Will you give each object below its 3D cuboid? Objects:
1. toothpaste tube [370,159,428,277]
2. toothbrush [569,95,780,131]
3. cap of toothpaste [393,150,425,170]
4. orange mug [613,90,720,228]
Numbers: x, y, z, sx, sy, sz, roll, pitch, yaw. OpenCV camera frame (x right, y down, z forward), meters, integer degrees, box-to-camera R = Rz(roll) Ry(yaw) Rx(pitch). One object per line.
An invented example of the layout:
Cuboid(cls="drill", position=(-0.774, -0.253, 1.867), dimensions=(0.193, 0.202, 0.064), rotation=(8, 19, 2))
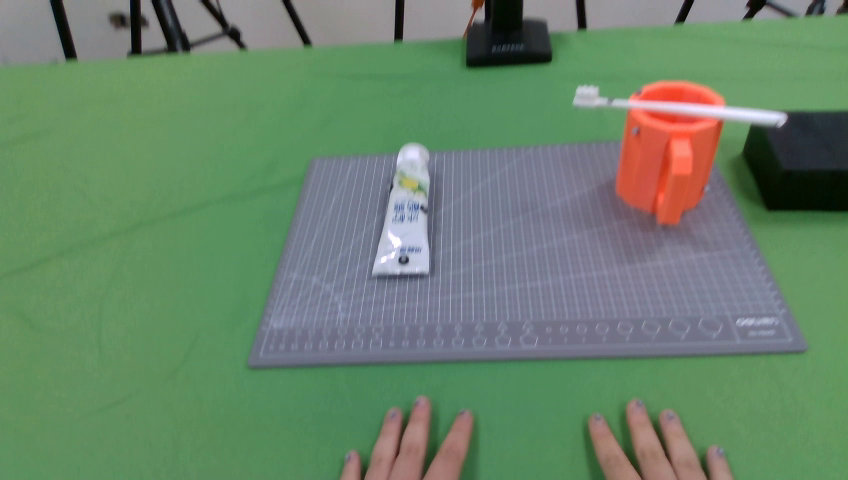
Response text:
Cuboid(cls="toothpaste tube", position=(-0.022, -0.027, 0.617), dimensions=(0.055, 0.035, 0.163), rotation=(-5, 47, 8))
Cuboid(cls="toothbrush", position=(0.224, -0.116, 0.552), dimensions=(0.181, 0.017, 0.014), rotation=(10, 37, 18))
Cuboid(cls="cap of toothpaste", position=(-0.017, -0.084, 0.669), dimensions=(0.037, 0.038, 0.011), rotation=(0, 49, 7))
Cuboid(cls="orange mug", position=(0.232, -0.074, 0.584), dimensions=(0.083, 0.102, 0.125), rotation=(3, 39, 11))
